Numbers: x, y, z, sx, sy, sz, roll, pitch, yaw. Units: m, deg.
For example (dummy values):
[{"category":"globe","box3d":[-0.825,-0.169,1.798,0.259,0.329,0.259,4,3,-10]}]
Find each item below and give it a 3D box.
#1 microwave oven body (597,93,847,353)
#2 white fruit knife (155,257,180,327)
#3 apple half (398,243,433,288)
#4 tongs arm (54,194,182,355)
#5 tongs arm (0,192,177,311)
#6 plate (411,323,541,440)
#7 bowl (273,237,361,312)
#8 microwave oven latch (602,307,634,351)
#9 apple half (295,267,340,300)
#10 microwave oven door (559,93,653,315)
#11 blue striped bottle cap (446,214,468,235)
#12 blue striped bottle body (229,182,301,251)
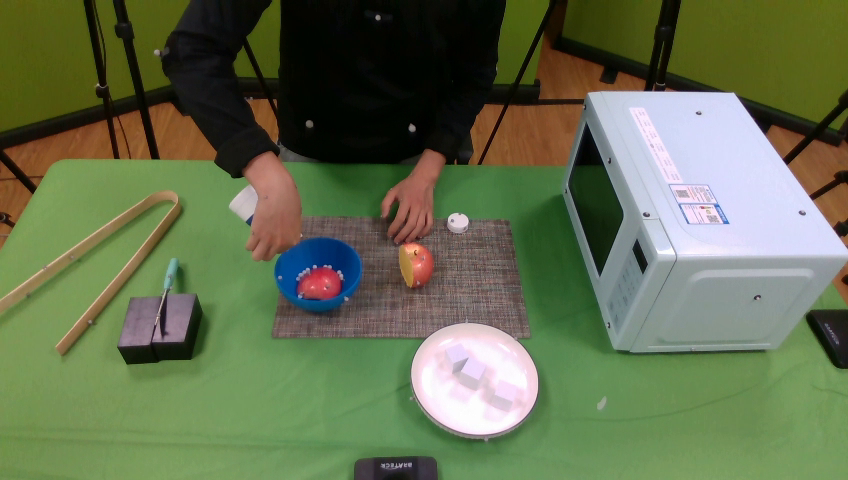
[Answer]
[{"category":"microwave oven body","box3d":[0.475,-0.041,1.109,0.326,0.261,0.438,-1,45,-4]},{"category":"white fruit knife","box3d":[-0.440,0.085,1.037,0.016,0.027,0.206,10,26,-19]},{"category":"apple half","box3d":[-0.011,0.046,1.115,0.053,0.075,0.080,-11,44,-19]},{"category":"tongs arm","box3d":[-0.543,0.048,1.108,0.028,0.028,0.385,11,45,10]},{"category":"tongs arm","box3d":[-0.618,0.019,1.124,0.050,0.026,0.384,24,47,16]},{"category":"plate","box3d":[0.082,0.228,0.976,0.208,0.039,0.206,2,45,-2]},{"category":"bowl","box3d":[-0.186,0.075,1.069,0.151,0.077,0.150,3,45,-3]},{"category":"microwave oven latch","box3d":[0.332,0.153,1.044,0.030,0.029,0.078,-1,45,-4]},{"category":"apple half","box3d":[-0.187,0.070,1.067,0.081,0.033,0.081,3,47,-3]},{"category":"microwave oven door","box3d":[0.327,-0.074,1.123,0.039,0.245,0.353,-1,46,-5]},{"category":"blue striped bottle cap","box3d":[0.069,-0.033,1.239,0.044,0.021,0.044,1,46,-1]},{"category":"blue striped bottle body","box3d":[-0.263,-0.035,1.021,0.121,0.063,0.063,45,51,-7]}]
